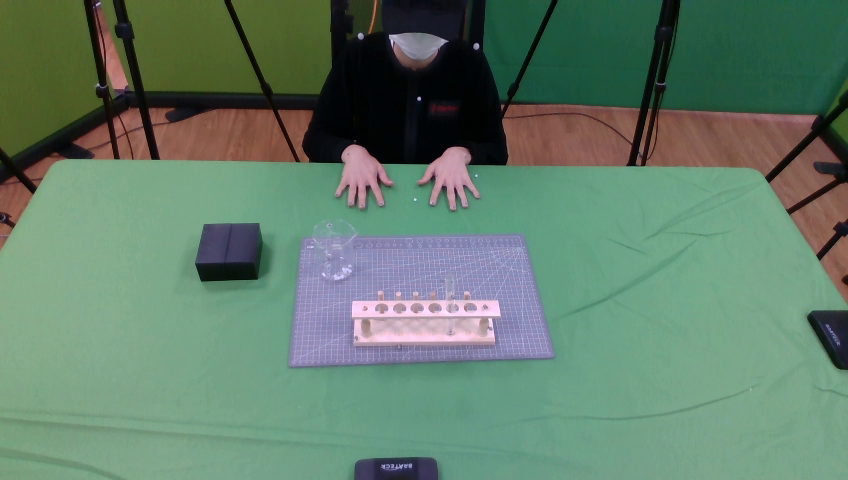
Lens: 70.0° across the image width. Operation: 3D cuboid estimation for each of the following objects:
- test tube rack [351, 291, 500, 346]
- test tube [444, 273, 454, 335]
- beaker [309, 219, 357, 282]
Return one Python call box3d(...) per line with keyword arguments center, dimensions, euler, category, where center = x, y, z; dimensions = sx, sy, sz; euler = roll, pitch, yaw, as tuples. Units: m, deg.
box3d(center=(0.001, 0.129, 1.026), dimensions=(0.242, 0.085, 0.066), euler=(0, 46, -4), category="test tube rack")
box3d(center=(0.042, 0.107, 0.982), dimensions=(0.017, 0.151, 0.017), euler=(-1, 47, 2), category="test tube")
box3d(center=(-0.164, 0.021, 1.107), dimensions=(0.084, 0.101, 0.073), euler=(-5, 47, -11), category="beaker")
